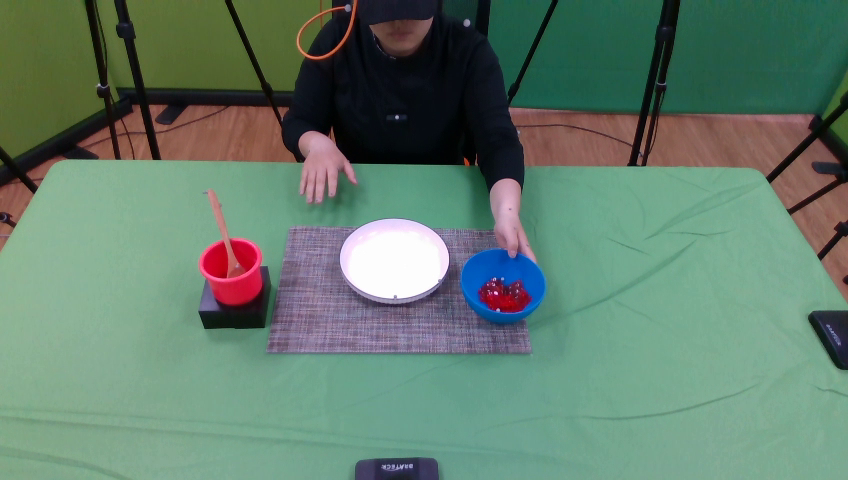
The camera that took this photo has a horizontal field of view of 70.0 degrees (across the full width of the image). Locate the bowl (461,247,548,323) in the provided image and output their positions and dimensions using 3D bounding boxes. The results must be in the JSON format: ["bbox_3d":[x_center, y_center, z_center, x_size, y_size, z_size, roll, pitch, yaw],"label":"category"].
[{"bbox_3d":[0.137,0.094,1.072,0.151,0.077,0.150,2,46,-2],"label":"bowl"}]

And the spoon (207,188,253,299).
[{"bbox_3d":[-0.328,0.005,1.013,0.042,0.021,0.193,-16,93,-19],"label":"spoon"}]

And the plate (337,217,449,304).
[{"bbox_3d":[-0.058,0.042,1.136,0.208,0.039,0.206,2,46,-2],"label":"plate"}]
